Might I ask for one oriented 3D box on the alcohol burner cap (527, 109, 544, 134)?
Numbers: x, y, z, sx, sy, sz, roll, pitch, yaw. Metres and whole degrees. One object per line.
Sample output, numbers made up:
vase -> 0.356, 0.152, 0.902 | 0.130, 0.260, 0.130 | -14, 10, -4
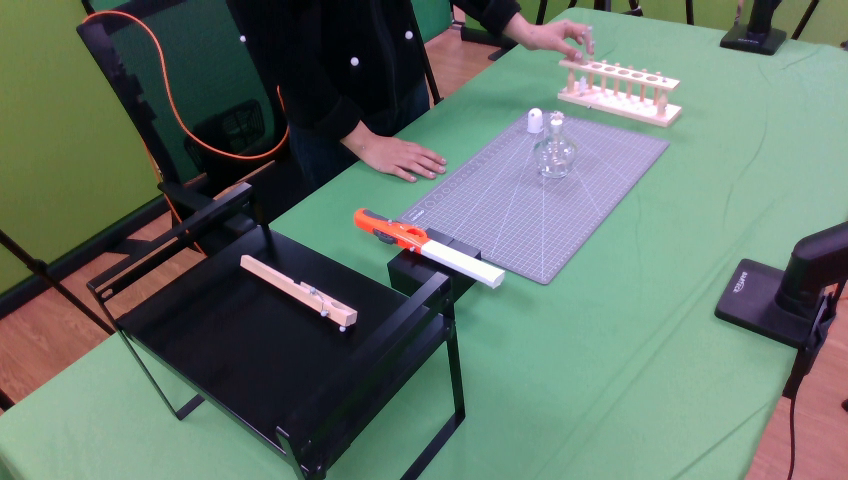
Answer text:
alcohol burner cap -> 0.222, -0.238, 1.203 | 0.034, 0.048, 0.033 | -5, 40, 5

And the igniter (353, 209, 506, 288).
igniter -> -0.003, 0.006, 0.892 | 0.274, 0.025, 0.057 | 24, 37, 31

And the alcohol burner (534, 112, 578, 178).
alcohol burner -> 0.232, -0.170, 1.065 | 0.078, 0.119, 0.077 | -5, 39, 5

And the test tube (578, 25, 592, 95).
test tube -> 0.327, -0.362, 1.227 | 0.017, 0.151, 0.017 | -3, 44, 4

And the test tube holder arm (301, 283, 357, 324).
test tube holder arm -> -0.105, 0.066, 0.638 | 0.087, 0.015, 0.010 | 21, 14, 33

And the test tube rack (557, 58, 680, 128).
test tube rack -> 0.395, -0.309, 1.230 | 0.240, 0.085, 0.067 | 25, 50, 33

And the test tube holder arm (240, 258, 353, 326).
test tube holder arm -> -0.143, 0.053, 0.658 | 0.177, 0.015, 0.013 | 21, 14, 32
